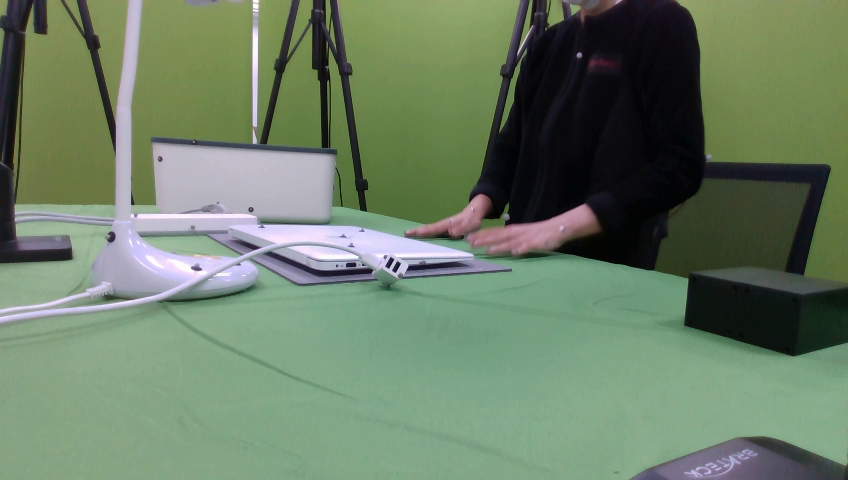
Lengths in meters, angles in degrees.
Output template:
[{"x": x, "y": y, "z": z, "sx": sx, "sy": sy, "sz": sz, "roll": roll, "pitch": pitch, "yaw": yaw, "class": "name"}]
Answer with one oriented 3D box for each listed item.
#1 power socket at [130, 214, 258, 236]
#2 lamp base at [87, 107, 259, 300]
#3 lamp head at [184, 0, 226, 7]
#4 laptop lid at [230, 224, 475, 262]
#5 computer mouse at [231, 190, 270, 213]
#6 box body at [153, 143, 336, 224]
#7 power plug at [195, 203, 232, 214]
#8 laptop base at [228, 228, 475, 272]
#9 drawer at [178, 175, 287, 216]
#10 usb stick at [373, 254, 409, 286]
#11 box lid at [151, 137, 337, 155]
[{"x": -0.398, "y": -0.028, "z": 1.049, "sx": 0.228, "sy": 0.032, "sz": 0.072, "roll": -3, "pitch": 8, "yaw": -34, "class": "power socket"}, {"x": -0.254, "y": -0.039, "z": 0.603, "sx": 0.160, "sy": 0.180, "sz": 0.179, "roll": 5, "pitch": 10, "yaw": 18, "class": "lamp base"}, {"x": -0.229, "y": -0.320, "z": 0.627, "sx": 0.112, "sy": 0.112, "sz": 0.123, "roll": 6, "pitch": -36, "yaw": 26, "class": "lamp head"}, {"x": -0.119, "y": 0.000, "z": 0.888, "sx": 0.243, "sy": 0.013, "sz": 0.355, "roll": 1, "pitch": 7, "yaw": -33, "class": "laptop lid"}, {"x": -0.382, "y": -0.086, "z": 1.342, "sx": 0.063, "sy": 0.041, "sz": 0.117, "roll": 10, "pitch": 10, "yaw": -4, "class": "computer mouse"}, {"x": -0.380, "y": -0.130, "z": 1.344, "sx": 0.365, "sy": 0.160, "sz": 0.253, "roll": 1, "pitch": 7, "yaw": -9, "class": "box body"}, {"x": -0.392, "y": -0.043, "z": 1.140, "sx": 0.072, "sy": 0.052, "sz": 0.035, "roll": -12, "pitch": 1, "yaw": 36, "class": "power plug"}, {"x": -0.122, "y": 0.011, "z": 0.889, "sx": 0.237, "sy": 0.023, "sz": 0.352, "roll": 1, "pitch": 7, "yaw": -35, "class": "laptop base"}, {"x": -0.414, "y": -0.103, "z": 1.341, "sx": 0.212, "sy": 0.073, "sz": 0.194, "roll": 5, "pitch": 6, "yaw": -11, "class": "drawer"}, {"x": -0.039, "y": 0.035, "z": 0.663, "sx": 0.027, "sy": 0.021, "sz": 0.059, "roll": 29, "pitch": -21, "yaw": -7, "class": "usb stick"}, {"x": -0.379, "y": -0.203, "z": 1.334, "sx": 0.372, "sy": 0.015, "sz": 0.262, "roll": 2, "pitch": 7, "yaw": -9, "class": "box lid"}]
